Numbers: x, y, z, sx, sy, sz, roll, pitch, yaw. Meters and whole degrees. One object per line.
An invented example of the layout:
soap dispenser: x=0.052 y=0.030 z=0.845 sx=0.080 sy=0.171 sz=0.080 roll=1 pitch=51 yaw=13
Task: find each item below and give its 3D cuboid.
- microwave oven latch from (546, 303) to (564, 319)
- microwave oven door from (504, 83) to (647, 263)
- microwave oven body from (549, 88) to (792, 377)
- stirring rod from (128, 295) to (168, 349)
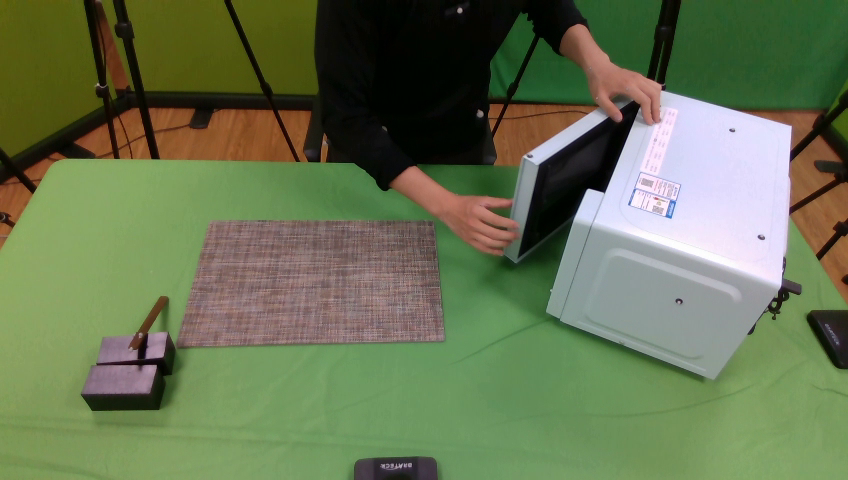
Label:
microwave oven latch: x=0.242 y=0.102 z=1.081 sx=0.030 sy=0.029 sz=0.079 roll=22 pitch=48 yaw=17
microwave oven door: x=0.296 y=-0.134 z=1.170 sx=0.356 sy=0.245 sz=0.039 roll=-34 pitch=56 yaw=-30
microwave oven body: x=0.456 y=-0.028 z=1.088 sx=0.325 sy=0.261 sz=0.440 roll=20 pitch=47 yaw=16
stirring rod: x=-0.451 y=0.131 z=0.996 sx=0.014 sy=0.006 sz=0.175 roll=9 pitch=21 yaw=-10
